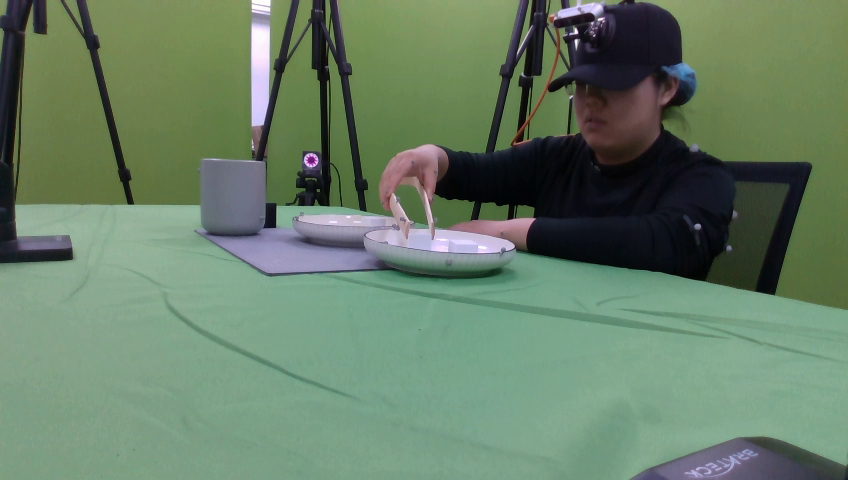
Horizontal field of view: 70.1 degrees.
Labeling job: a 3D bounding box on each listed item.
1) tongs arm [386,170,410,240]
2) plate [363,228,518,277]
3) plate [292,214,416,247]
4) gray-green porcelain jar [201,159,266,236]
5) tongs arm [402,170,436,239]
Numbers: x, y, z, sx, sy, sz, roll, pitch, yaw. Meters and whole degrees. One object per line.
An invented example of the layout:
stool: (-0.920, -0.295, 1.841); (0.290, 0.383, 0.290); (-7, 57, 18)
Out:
tongs arm: (-0.032, -0.066, 0.959); (0.051, 0.026, 0.383); (-2, 17, -10)
plate: (0.021, 0.016, 0.817); (0.209, 0.038, 0.209); (4, 9, 0)
plate: (-0.118, -0.017, 1.024); (0.208, 0.039, 0.207); (3, 7, 0)
gray-green porcelain jar: (-0.326, -0.073, 1.036); (0.106, 0.126, 0.106); (3, 8, 0)
tongs arm: (-0.009, -0.066, 0.962); (0.028, 0.028, 0.386); (-4, 17, -5)
